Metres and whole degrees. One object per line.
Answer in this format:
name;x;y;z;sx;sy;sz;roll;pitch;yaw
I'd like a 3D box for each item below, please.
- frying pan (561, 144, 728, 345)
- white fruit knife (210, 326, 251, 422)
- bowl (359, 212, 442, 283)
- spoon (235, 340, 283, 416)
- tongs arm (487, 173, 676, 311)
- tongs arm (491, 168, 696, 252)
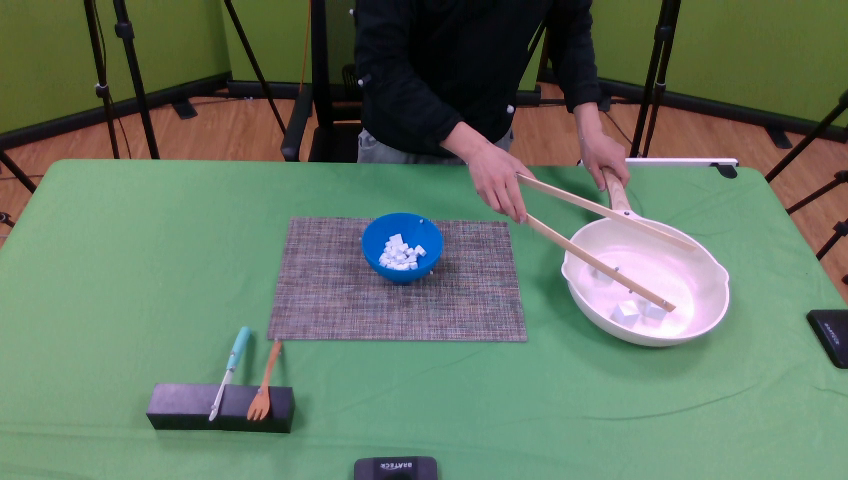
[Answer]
frying pan;0.397;-0.008;1.179;0.307;0.103;0.485;2;55;-4
white fruit knife;-0.300;0.201;0.942;0.016;0.027;0.206;-3;32;1
bowl;-0.044;0.026;1.125;0.151;0.077;0.150;2;46;-2
spoon;-0.245;0.207;0.932;0.042;0.021;0.193;30;24;-9
tongs arm;0.272;0.001;1.068;0.384;0.026;0.050;31;65;8
tongs arm;0.306;-0.054;1.101;0.387;0.028;0.028;22;68;3
